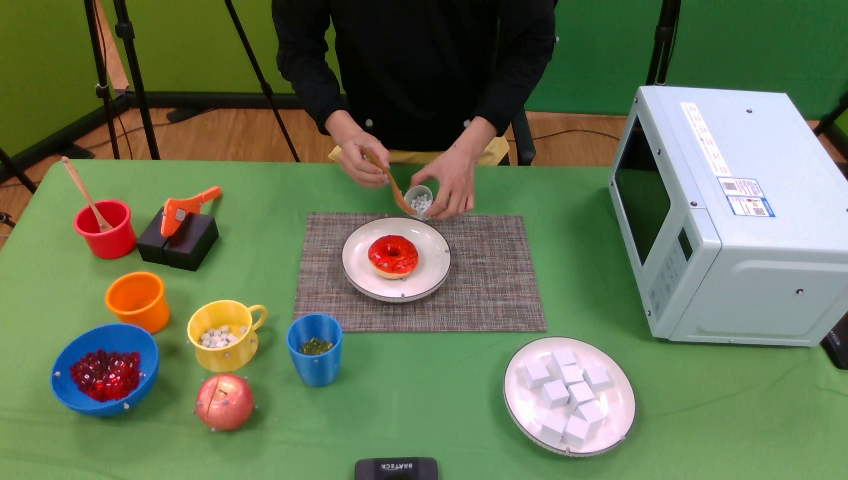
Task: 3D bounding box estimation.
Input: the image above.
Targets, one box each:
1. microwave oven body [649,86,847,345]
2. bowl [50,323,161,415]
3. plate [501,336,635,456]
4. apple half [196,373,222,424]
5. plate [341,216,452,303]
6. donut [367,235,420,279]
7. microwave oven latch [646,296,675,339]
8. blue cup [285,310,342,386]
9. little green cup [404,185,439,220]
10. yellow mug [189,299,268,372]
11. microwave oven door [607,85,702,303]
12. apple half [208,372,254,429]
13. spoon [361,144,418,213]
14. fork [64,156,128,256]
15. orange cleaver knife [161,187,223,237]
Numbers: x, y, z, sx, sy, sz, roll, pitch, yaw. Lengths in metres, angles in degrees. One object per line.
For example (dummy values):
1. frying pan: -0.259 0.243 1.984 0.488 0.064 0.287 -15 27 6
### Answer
1. microwave oven body: 0.568 -0.053 1.118 0.326 0.261 0.439 2 45 -1
2. bowl: -0.472 0.209 0.924 0.151 0.077 0.150 3 45 -2
3. plate: 0.225 0.248 0.963 0.208 0.039 0.206 2 46 -2
4. apple half: -0.322 0.239 0.907 0.033 0.081 0.081 6 46 0
5. plate: -0.052 0.039 1.140 0.209 0.038 0.208 2 46 -2
6. donut: -0.056 0.032 1.132 0.099 0.048 0.098 3 45 -3
7. microwave oven latch: 0.412 0.134 1.061 0.030 0.029 0.078 4 45 1
8. blue cup: -0.170 0.179 0.958 0.093 0.101 0.092 2 44 -2
9. little green cup: -0.003 -0.068 1.134 0.061 0.039 0.061 -8 69 22
10. yellow mug: -0.316 0.148 1.002 0.131 0.064 0.099 -33 56 -31
11. microwave oven door: 0.423 -0.094 1.141 0.039 0.245 0.353 2 46 -1
12. apple half: -0.283 0.244 0.908 0.053 0.075 0.080 7 42 -1
13. spoon: -0.059 -0.104 1.045 0.021 0.195 0.041 -46 48 -12
14. fork: -0.614 -0.064 1.129 0.028 0.018 0.207 -30 97 -17
15. orange cleaver knife: -0.448 -0.058 1.180 0.012 0.077 0.211 13 17 6
